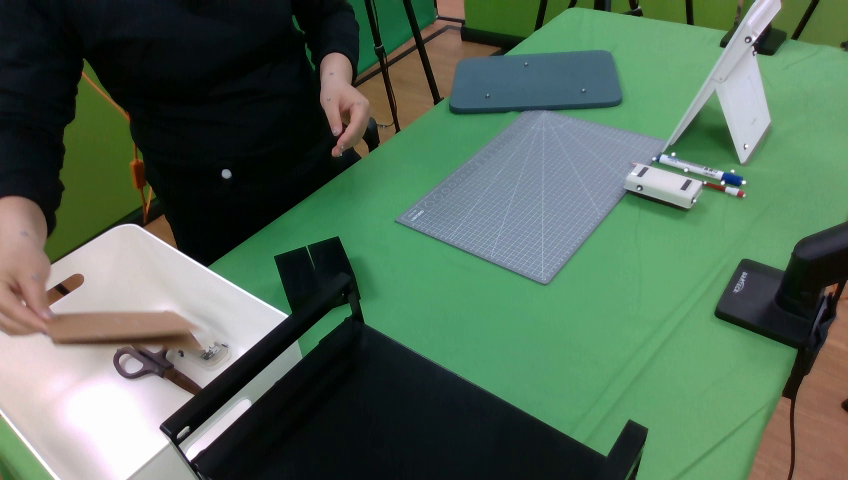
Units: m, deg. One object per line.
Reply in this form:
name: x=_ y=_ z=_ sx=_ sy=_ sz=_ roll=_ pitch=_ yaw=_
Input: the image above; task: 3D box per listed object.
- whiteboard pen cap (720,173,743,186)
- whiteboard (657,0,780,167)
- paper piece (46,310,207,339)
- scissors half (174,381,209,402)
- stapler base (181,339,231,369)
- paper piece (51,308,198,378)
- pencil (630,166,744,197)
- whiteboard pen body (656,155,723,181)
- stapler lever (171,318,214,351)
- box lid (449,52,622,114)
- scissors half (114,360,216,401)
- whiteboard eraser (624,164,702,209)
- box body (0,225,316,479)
whiteboard pen cap: x=0.519 y=-0.103 z=1.020 sx=0.033 sy=0.018 sz=0.018 roll=23 pitch=49 yaw=30
whiteboard: x=0.571 y=-0.272 z=1.038 sx=0.143 sy=0.306 sz=0.218 roll=37 pitch=54 yaw=17
paper piece: x=-0.319 y=0.086 z=0.645 sx=0.136 sy=0.004 sz=0.134 roll=2 pitch=2 yaw=-36
scissors half: x=-0.336 y=0.172 z=0.822 sx=0.040 sy=0.013 sz=0.174 roll=-36 pitch=53 yaw=-29
stapler base: x=-0.326 y=0.143 z=0.853 sx=0.129 sy=0.024 sz=0.041 roll=14 pitch=40 yaw=37
paper piece: x=-0.320 y=0.106 z=0.642 sx=0.137 sy=0.137 sz=0.008 roll=20 pitch=87 yaw=56
pencil: x=0.447 y=-0.103 z=1.039 sx=0.192 sy=0.012 sz=0.012 roll=21 pitch=48 yaw=30
whiteboard pen body: x=0.475 y=-0.123 z=1.052 sx=0.139 sy=0.017 sz=0.017 roll=24 pitch=50 yaw=32
stapler lever: x=-0.332 y=0.122 z=0.840 sx=0.117 sy=0.040 sz=0.027 roll=14 pitch=40 yaw=37
box lid: x=0.249 y=-0.358 z=1.370 sx=0.371 sy=0.015 sz=0.262 roll=-1 pitch=40 yaw=9
scissors half: x=-0.349 y=0.185 z=0.810 sx=0.174 sy=0.013 sz=0.040 roll=15 pitch=52 yaw=19
whiteboard eraser: x=0.396 y=-0.087 z=1.003 sx=0.112 sy=0.042 sz=0.056 roll=22 pitch=48 yaw=31
box body: x=-0.339 y=0.161 z=0.728 sx=0.361 sy=0.161 sz=0.255 roll=23 pitch=49 yaw=31
